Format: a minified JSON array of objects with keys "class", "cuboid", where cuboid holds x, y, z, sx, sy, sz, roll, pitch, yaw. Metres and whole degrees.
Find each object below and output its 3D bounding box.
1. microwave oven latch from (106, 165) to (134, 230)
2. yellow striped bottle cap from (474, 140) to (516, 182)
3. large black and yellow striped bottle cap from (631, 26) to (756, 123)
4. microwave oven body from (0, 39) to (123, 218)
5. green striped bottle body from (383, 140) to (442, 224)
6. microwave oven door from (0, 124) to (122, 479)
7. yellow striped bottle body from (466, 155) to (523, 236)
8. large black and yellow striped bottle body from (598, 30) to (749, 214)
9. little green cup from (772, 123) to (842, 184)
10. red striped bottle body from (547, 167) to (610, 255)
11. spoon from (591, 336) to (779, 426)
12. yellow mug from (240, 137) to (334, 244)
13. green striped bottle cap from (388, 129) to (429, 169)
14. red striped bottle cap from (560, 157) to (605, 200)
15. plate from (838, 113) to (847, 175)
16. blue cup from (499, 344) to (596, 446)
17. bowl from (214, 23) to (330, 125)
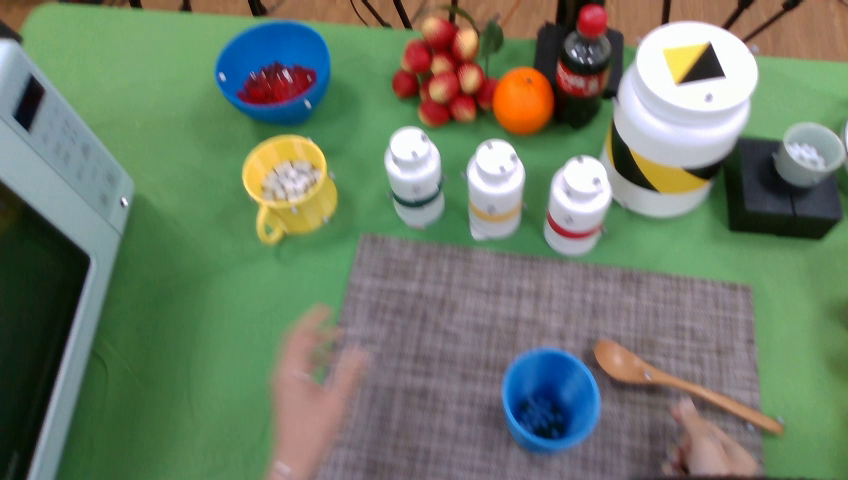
[{"class":"microwave oven latch","cuboid":[-0.384,-0.052,0.748,0.030,0.030,0.078,1,63,5]},{"class":"yellow striped bottle cap","cuboid":[0.076,-0.084,0.643,0.044,0.019,0.044,-1,63,3]},{"class":"large black and yellow striped bottle cap","cuboid":[0.265,-0.166,0.598,0.115,0.019,0.114,-2,60,4]},{"class":"microwave oven body","cuboid":[-0.542,0.060,0.590,0.326,0.262,0.438,-1,62,4]},{"class":"green striped bottle body","cuboid":[-0.012,-0.074,0.704,0.063,0.120,0.062,-2,61,4]},{"class":"microwave oven door","cuboid":[-0.398,0.092,0.556,0.039,0.246,0.352,-1,62,5]},{"class":"yellow striped bottle body","cuboid":[0.080,-0.060,0.688,0.063,0.121,0.062,-2,61,4]},{"class":"large black and yellow striped bottle body","cuboid":[0.273,-0.127,0.673,0.131,0.185,0.129,-2,62,4]},{"class":"little green cup","cuboid":[0.420,-0.094,0.669,0.061,0.039,0.061,-1,61,2]},{"class":"red striped bottle body","cuboid":[0.169,-0.038,0.670,0.063,0.121,0.062,-4,59,7]},{"class":"spoon","cuboid":[0.262,0.145,0.615,0.193,0.022,0.041,20,44,14]},{"class":"yellow mug","cuboid":[-0.171,-0.055,0.737,0.099,0.064,0.130,17,65,12]},{"class":"green striped bottle cap","cuboid":[-0.017,-0.099,0.658,0.044,0.020,0.044,-1,60,3]},{"class":"red striped bottle cap","cuboid":[0.164,-0.064,0.625,0.044,0.018,0.044,0,61,0]},{"class":"plate","cuboid":[0.595,-0.094,0.713,0.209,0.038,0.207,-2,62,4]},{"class":"blue cup","cuboid":[0.112,0.156,0.577,0.092,0.101,0.092,-1,62,3]},{"class":"bowl","cuboid":[-0.194,-0.208,0.814,0.151,0.077,0.150,-2,62,3]}]
